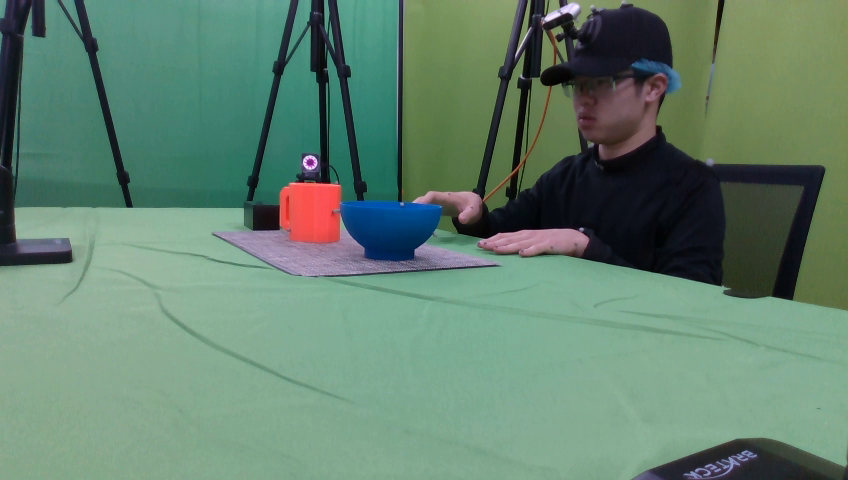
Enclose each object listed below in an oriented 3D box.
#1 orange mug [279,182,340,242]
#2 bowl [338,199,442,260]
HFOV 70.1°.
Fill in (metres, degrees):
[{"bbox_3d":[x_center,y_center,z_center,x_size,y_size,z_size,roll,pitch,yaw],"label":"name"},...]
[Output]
[{"bbox_3d":[-0.202,-0.052,1.042,0.125,0.100,0.084,12,11,34],"label":"orange mug"},{"bbox_3d":[-0.050,-0.015,0.878,0.151,0.077,0.151,2,8,0],"label":"bowl"}]
